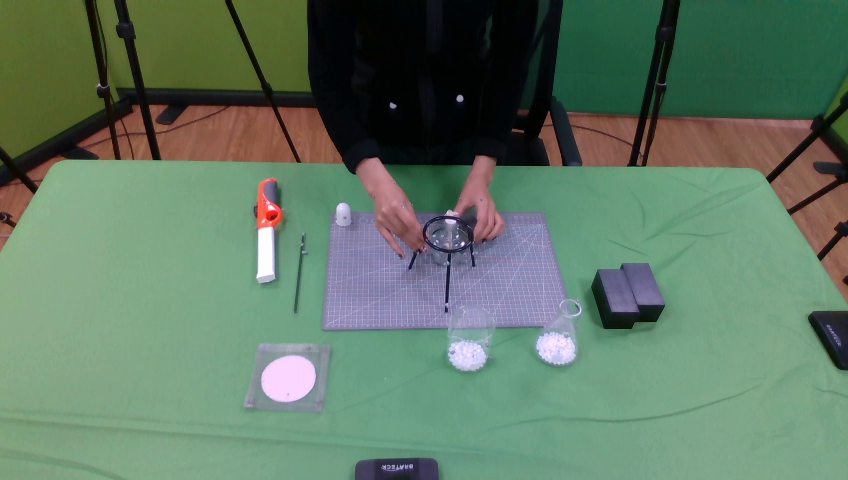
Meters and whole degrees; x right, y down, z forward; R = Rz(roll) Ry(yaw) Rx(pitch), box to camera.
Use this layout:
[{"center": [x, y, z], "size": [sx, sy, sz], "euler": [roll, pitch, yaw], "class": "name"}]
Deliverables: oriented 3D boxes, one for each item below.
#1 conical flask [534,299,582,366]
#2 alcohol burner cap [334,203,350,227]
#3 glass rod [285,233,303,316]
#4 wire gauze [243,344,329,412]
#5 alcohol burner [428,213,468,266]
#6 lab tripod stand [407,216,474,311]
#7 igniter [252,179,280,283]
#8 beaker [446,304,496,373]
[{"center": [0.229, 0.149, 1.005], "size": [0.075, 0.122, 0.075], "euler": [2, 46, -2], "class": "conical flask"}, {"center": [-0.166, -0.054, 1.220], "size": [0.034, 0.048, 0.033], "euler": [2, 46, -2], "class": "alcohol burner cap"}, {"center": [-0.242, 0.060, 1.134], "size": [0.008, 0.008, 0.198], "euler": [2, 47, -2], "class": "glass rod"}, {"center": [-0.221, 0.219, 0.980], "size": [0.125, 0.011, 0.120], "euler": [2, 45, 0], "class": "wire gauze"}, {"center": [0.047, -0.007, 1.143], "size": [0.078, 0.120, 0.077], "euler": [1, 47, -1], "class": "alcohol burner"}, {"center": [0.039, 0.030, 1.092], "size": [0.148, 0.132, 0.147], "euler": [2, 44, -2], "class": "lab tripod stand"}, {"center": [-0.312, -0.027, 1.197], "size": [0.057, 0.025, 0.274], "euler": [-12, 47, -1], "class": "igniter"}, {"center": [0.072, 0.166, 0.992], "size": [0.084, 0.101, 0.073], "euler": [-21, 51, -22], "class": "beaker"}]
